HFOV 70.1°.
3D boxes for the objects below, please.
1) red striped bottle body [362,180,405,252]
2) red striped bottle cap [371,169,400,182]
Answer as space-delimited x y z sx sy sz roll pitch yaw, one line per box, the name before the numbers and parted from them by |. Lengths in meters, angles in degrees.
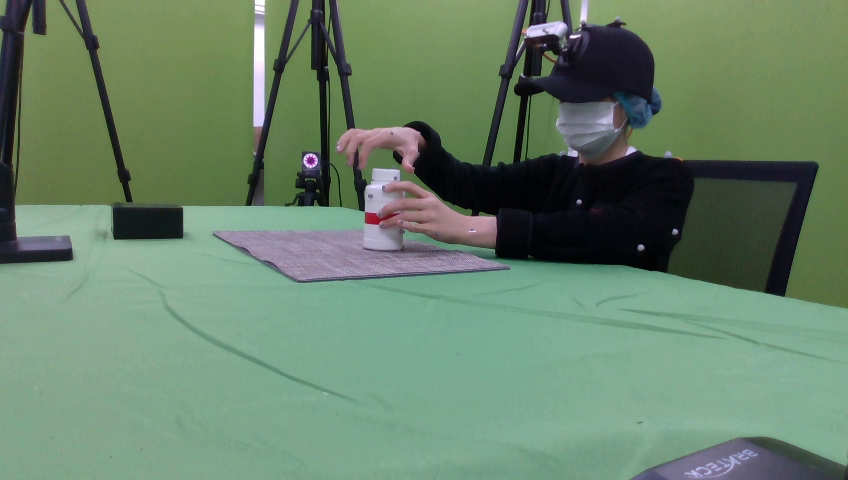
red striped bottle body | -0.062 -0.044 0.933 0.063 0.119 0.063 4 7 0
red striped bottle cap | -0.059 -0.099 0.925 0.044 0.017 0.044 3 5 0
